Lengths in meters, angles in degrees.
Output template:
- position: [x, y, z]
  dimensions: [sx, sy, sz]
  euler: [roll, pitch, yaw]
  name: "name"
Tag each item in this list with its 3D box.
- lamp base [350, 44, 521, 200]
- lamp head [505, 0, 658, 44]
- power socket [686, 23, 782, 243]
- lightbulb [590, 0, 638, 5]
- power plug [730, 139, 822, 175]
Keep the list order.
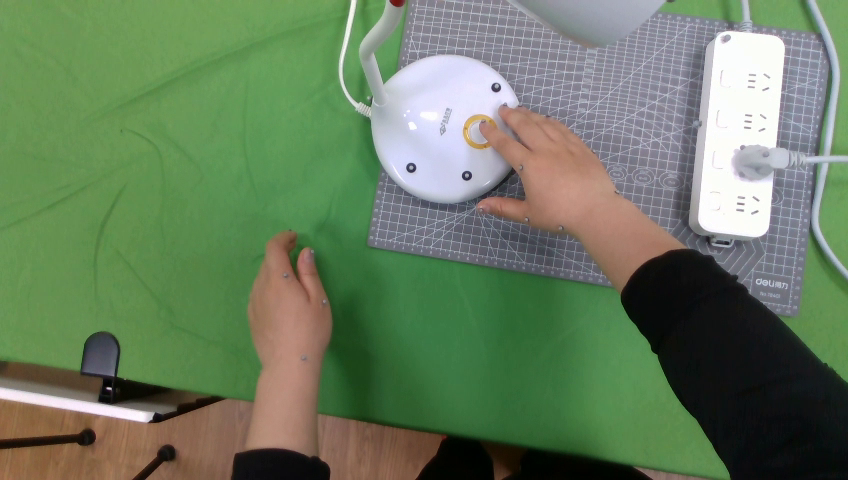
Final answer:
- position: [0.003, -0.129, 0.565]
  dimensions: [0.179, 0.181, 0.160]
  euler: [5, 86, 7]
  name: "lamp base"
- position: [0.047, -0.159, 0.269]
  dimensions: [0.123, 0.112, 0.112]
  euler: [12, 86, -17]
  name: "lamp head"
- position: [0.316, -0.111, 0.619]
  dimensions: [0.072, 0.032, 0.226]
  euler: [7, 86, 3]
  name: "power socket"
- position: [0.070, -0.149, 0.272]
  dimensions: [0.108, 0.059, 0.059]
  euler: [21, 87, -22]
  name: "lightbulb"
- position: [0.340, -0.076, 0.596]
  dimensions: [0.072, 0.053, 0.035]
  euler: [18, 88, 2]
  name: "power plug"
